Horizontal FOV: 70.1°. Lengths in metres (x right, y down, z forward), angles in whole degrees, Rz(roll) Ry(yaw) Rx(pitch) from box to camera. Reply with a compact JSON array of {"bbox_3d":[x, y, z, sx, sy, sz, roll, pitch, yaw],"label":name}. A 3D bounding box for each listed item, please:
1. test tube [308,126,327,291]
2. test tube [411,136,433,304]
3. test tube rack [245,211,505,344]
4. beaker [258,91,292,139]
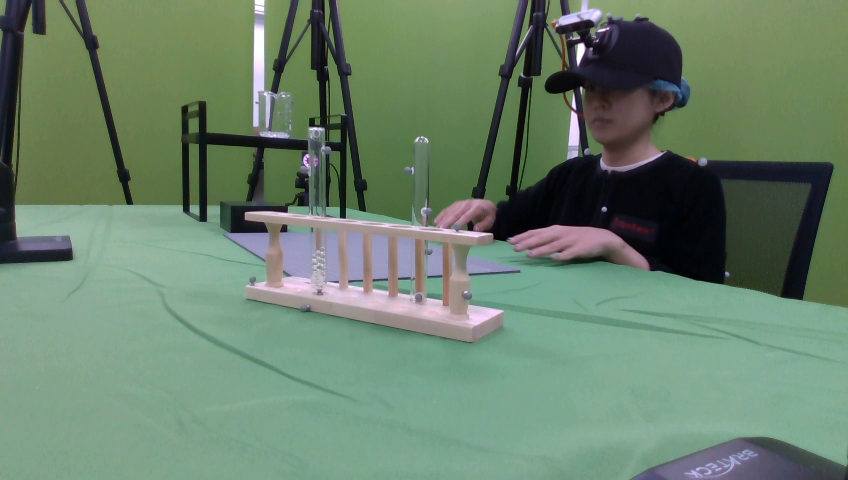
[{"bbox_3d":[-0.096,-0.028,0.549,0.017,0.150,0.017,1,7,0],"label":"test tube"},{"bbox_3d":[-0.002,-0.017,0.538,0.017,0.150,0.017,2,7,0],"label":"test tube"},{"bbox_3d":[-0.049,0.025,0.547,0.241,0.085,0.067,7,8,28],"label":"test tube rack"},{"bbox_3d":[-0.331,-0.276,1.343,0.074,0.100,0.083,0,8,-20],"label":"beaker"}]
